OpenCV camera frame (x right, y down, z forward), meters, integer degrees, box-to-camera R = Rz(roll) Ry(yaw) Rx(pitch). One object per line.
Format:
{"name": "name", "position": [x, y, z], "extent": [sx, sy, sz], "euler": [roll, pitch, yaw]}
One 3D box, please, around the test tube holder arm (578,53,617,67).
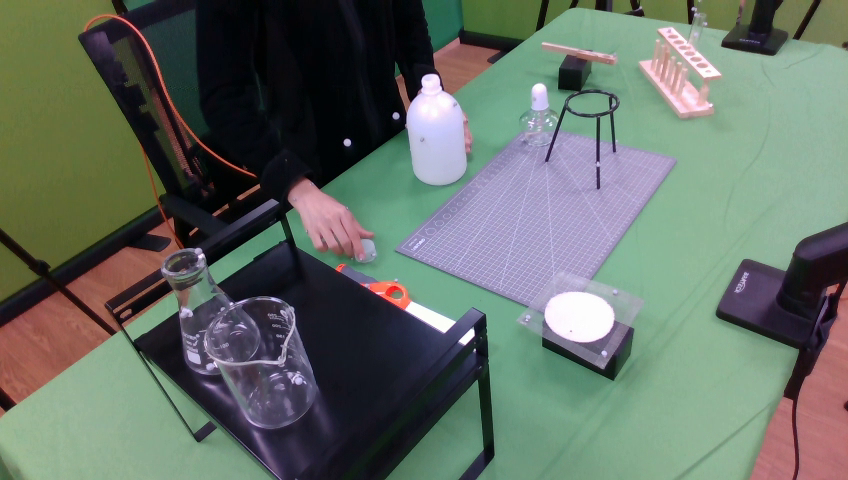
{"name": "test tube holder arm", "position": [0.376, -0.393, 1.314], "extent": [0.087, 0.015, 0.010], "euler": [26, 50, 32]}

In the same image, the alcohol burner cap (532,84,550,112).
{"name": "alcohol burner cap", "position": [0.218, -0.269, 1.133], "extent": [0.034, 0.048, 0.033], "euler": [-8, 36, 7]}

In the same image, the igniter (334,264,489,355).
{"name": "igniter", "position": [-0.030, 0.095, 0.871], "extent": [0.274, 0.025, 0.057], "euler": [22, 59, 31]}

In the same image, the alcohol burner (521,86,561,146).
{"name": "alcohol burner", "position": [0.223, -0.241, 1.155], "extent": [0.078, 0.119, 0.077], "euler": [-5, 43, 5]}

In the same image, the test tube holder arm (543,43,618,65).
{"name": "test tube holder arm", "position": [0.344, -0.413, 1.340], "extent": [0.177, 0.015, 0.013], "euler": [25, 50, 31]}

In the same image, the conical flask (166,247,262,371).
{"name": "conical flask", "position": [-0.209, 0.064, 0.584], "extent": [0.075, 0.122, 0.075], "euler": [-5, 40, 4]}

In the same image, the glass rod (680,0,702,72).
{"name": "glass rod", "position": [0.542, -0.417, 1.233], "extent": [0.008, 0.200, 0.008], "euler": [1, 40, 0]}

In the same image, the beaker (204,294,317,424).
{"name": "beaker", "position": [-0.137, 0.110, 0.536], "extent": [0.083, 0.101, 0.074], "euler": [30, 53, 35]}

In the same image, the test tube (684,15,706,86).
{"name": "test tube", "position": [0.540, -0.378, 1.215], "extent": [0.017, 0.151, 0.017], "euler": [-2, 44, 3]}

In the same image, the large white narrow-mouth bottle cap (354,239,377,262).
{"name": "large white narrow-mouth bottle cap", "position": [-0.095, 0.017, 0.981], "extent": [0.038, 0.024, 0.037], "euler": [-4, 40, 4]}

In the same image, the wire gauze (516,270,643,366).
{"name": "wire gauze", "position": [0.200, 0.093, 0.777], "extent": [0.124, 0.011, 0.122], "euler": [23, 49, 32]}

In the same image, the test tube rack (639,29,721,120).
{"name": "test tube rack", "position": [0.527, -0.351, 1.262], "extent": [0.067, 0.085, 0.241], "euler": [-8, 40, 1]}

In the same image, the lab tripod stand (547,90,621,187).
{"name": "lab tripod stand", "position": [0.288, -0.184, 1.062], "extent": [0.148, 0.132, 0.147], "euler": [-6, 41, 6]}

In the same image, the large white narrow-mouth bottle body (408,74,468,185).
{"name": "large white narrow-mouth bottle body", "position": [0.023, -0.201, 1.083], "extent": [0.102, 0.195, 0.101], "euler": [-4, 40, 4]}
